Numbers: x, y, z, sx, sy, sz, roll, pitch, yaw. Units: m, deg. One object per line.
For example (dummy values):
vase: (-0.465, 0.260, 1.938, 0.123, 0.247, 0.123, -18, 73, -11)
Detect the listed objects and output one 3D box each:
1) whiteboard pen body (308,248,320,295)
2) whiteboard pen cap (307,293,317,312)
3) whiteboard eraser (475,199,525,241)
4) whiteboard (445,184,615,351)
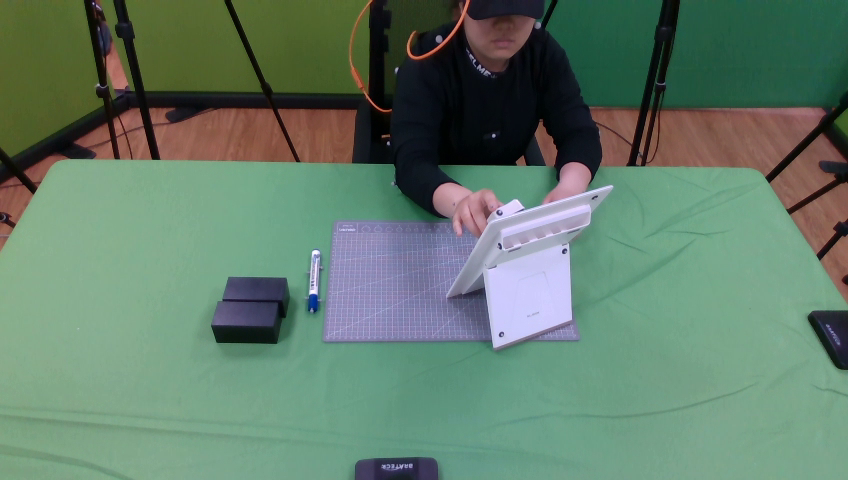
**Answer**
whiteboard pen body: (-0.204, 0.069, 1.119, 0.017, 0.017, 0.140, -1, 46, -5)
whiteboard pen cap: (-0.199, 0.110, 1.078, 0.018, 0.018, 0.033, -2, 47, -6)
whiteboard eraser: (0.125, -0.020, 0.990, 0.055, 0.113, 0.041, -23, 70, -22)
whiteboard: (0.187, 0.065, 0.989, 0.217, 0.306, 0.143, -15, 68, -18)
